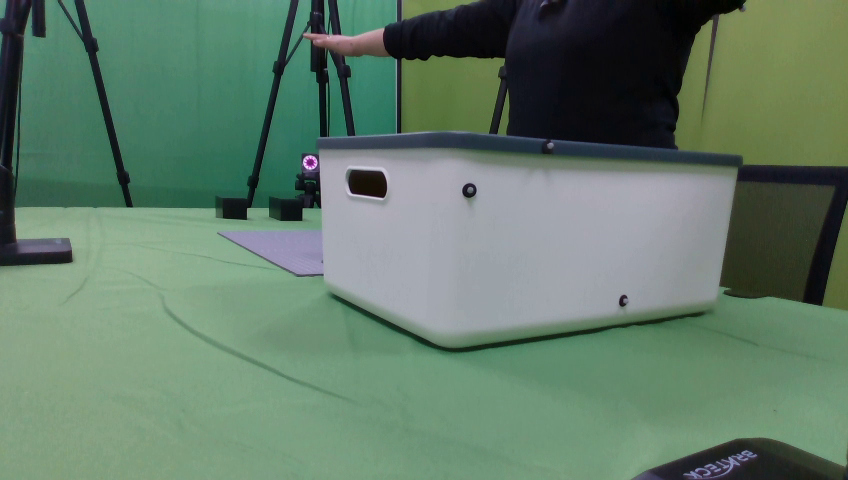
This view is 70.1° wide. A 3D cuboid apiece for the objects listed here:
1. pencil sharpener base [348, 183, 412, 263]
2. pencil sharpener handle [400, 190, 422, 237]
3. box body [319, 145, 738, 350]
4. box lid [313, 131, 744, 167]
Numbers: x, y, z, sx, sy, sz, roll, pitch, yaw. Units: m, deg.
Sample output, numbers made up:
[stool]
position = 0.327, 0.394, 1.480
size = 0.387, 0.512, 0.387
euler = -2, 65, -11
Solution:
[pencil sharpener base]
position = -0.059, -0.024, 0.846
size = 0.077, 0.107, 0.061
euler = -1, 7, -30
[pencil sharpener handle]
position = -0.016, -0.038, 0.872
size = 0.031, 0.067, 0.036
euler = -1, 16, -30
[box body]
position = 0.100, -0.013, 0.611
size = 0.366, 0.160, 0.253
euler = -2, 8, -32
[box lid]
position = 0.101, -0.085, 0.602
size = 0.373, 0.015, 0.262
euler = -2, 8, -32
